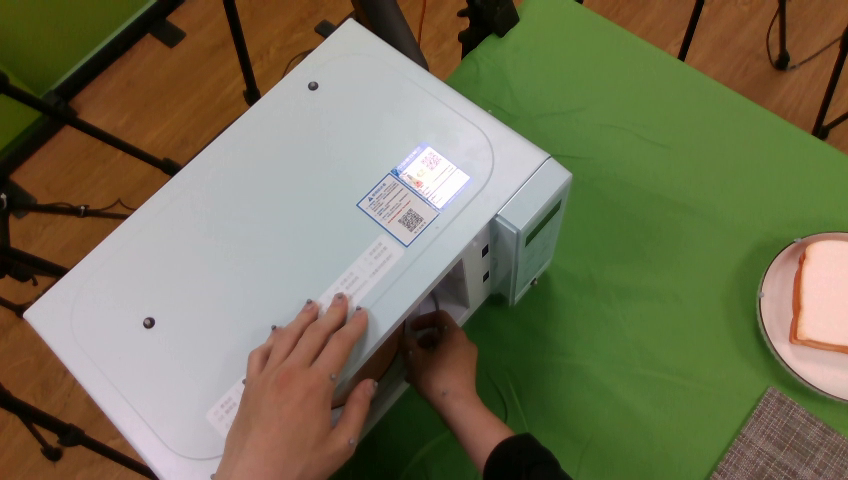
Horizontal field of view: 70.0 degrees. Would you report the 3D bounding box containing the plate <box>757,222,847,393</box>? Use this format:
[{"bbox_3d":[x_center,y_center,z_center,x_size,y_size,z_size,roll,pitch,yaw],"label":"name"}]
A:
[{"bbox_3d":[0.497,0.080,0.711,0.207,0.039,0.206,-2,68,6],"label":"plate"}]

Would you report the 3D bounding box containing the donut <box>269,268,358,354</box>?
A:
[{"bbox_3d":[-0.123,0.079,0.679,0.099,0.048,0.098,1,66,-3],"label":"donut"}]

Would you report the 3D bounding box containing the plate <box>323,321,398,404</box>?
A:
[{"bbox_3d":[-0.129,0.088,0.707,0.209,0.038,0.207,-3,70,8],"label":"plate"}]

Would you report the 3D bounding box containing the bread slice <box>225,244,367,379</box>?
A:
[{"bbox_3d":[-0.131,0.066,0.655,0.134,0.018,0.106,-38,77,-16],"label":"bread slice"}]

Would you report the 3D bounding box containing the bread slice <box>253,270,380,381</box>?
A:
[{"bbox_3d":[-0.132,0.104,0.716,0.131,0.019,0.104,-32,69,-26],"label":"bread slice"}]

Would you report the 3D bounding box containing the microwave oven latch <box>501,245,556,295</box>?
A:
[{"bbox_3d":[0.130,0.029,0.751,0.079,0.030,0.030,-44,71,-10],"label":"microwave oven latch"}]

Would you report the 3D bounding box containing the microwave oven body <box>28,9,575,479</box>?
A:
[{"bbox_3d":[-0.108,0.033,0.671,0.324,0.262,0.441,39,78,18],"label":"microwave oven body"}]
